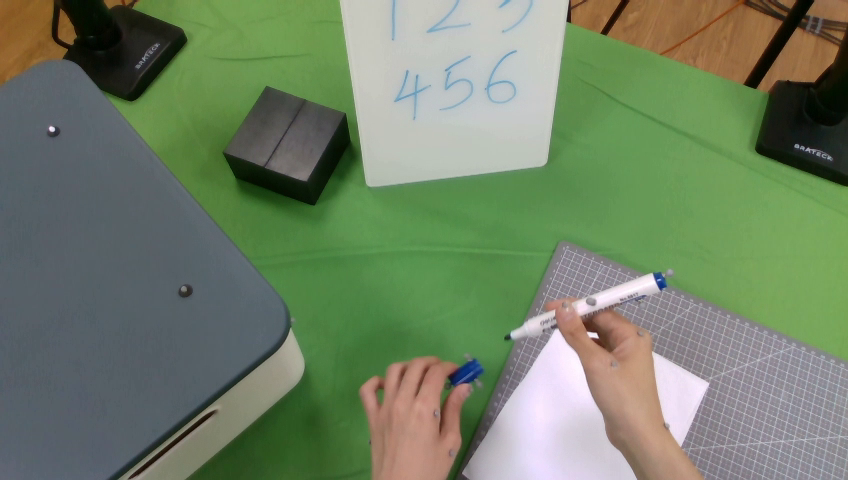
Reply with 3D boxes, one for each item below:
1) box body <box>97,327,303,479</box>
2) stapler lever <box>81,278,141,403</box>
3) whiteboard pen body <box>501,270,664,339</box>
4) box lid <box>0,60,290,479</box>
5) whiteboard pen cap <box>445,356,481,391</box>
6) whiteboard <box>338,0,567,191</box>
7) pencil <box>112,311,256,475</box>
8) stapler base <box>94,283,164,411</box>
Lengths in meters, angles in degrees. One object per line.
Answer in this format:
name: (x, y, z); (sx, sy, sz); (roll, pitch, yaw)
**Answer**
box body: (-0.313, 0.054, 0.550); (0.254, 0.161, 0.361); (-40, 71, -18)
stapler lever: (-0.300, 0.092, 0.574); (0.027, 0.040, 0.117); (-2, 65, 17)
whiteboard pen body: (0.124, 0.056, 0.491); (0.140, 0.017, 0.017); (-26, 61, 25)
box lid: (-0.313, 0.021, 0.484); (0.263, 0.015, 0.369); (-40, 72, -18)
whiteboard pen cap: (0.037, 0.120, 0.549); (0.033, 0.018, 0.018); (-35, 69, -16)
whiteboard: (0.022, -0.228, 0.650); (0.217, 0.308, 0.142); (-7, 45, -4)
pencil: (-0.227, 0.141, 0.586); (0.012, 0.012, 0.193); (27, 55, 12)
stapler base: (-0.294, 0.101, 0.595); (0.041, 0.024, 0.129); (-2, 67, 17)
